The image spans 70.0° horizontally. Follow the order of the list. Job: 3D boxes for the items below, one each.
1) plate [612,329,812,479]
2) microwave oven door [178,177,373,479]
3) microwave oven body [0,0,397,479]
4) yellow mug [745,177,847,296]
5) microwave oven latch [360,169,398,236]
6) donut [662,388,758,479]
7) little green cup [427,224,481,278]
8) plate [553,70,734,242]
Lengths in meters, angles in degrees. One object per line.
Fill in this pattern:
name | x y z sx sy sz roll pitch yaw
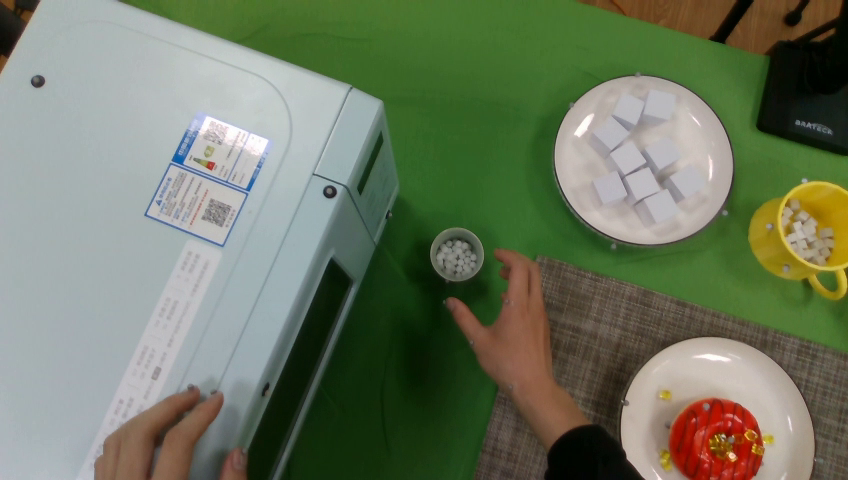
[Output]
plate | 0.304 0.201 0.655 0.209 0.038 0.208 0 80 1
microwave oven door | -0.139 0.134 0.552 0.039 0.244 0.355 21 80 5
microwave oven body | -0.259 0.045 0.575 0.326 0.261 0.440 21 81 4
yellow mug | 0.434 0.000 0.682 0.100 0.064 0.130 -19 81 -3
microwave oven latch | -0.055 -0.046 0.688 0.030 0.029 0.079 23 81 4
donut | 0.303 0.207 0.643 0.099 0.048 0.098 0 82 2
little green cup | 0.034 0.015 0.695 0.061 0.039 0.061 0 82 0
plate | 0.254 -0.097 0.715 0.208 0.039 0.206 0 79 1
